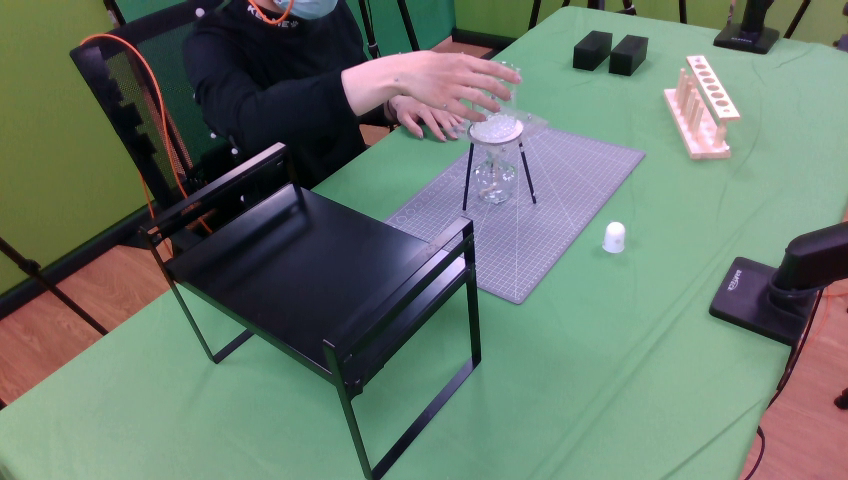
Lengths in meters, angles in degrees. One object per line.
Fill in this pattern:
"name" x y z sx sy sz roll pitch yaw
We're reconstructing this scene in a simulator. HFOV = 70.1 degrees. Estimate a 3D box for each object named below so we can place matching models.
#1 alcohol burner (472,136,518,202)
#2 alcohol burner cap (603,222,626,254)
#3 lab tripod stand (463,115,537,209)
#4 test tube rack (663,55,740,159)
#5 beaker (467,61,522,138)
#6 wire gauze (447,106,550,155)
"alcohol burner" 0.121 -0.124 1.023 0.078 0.119 0.077 -3 42 3
"alcohol burner cap" 0.291 -0.006 0.921 0.034 0.048 0.033 -4 40 4
"lab tripod stand" 0.120 -0.134 1.018 0.148 0.132 0.147 -5 39 5
"test tube rack" 0.518 -0.256 1.144 0.066 0.085 0.241 -1 41 8
"beaker" 0.112 -0.218 0.940 0.084 0.101 0.073 -13 39 -6
"wire gauze" 0.119 -0.182 0.974 0.122 0.011 0.124 -33 42 -29
